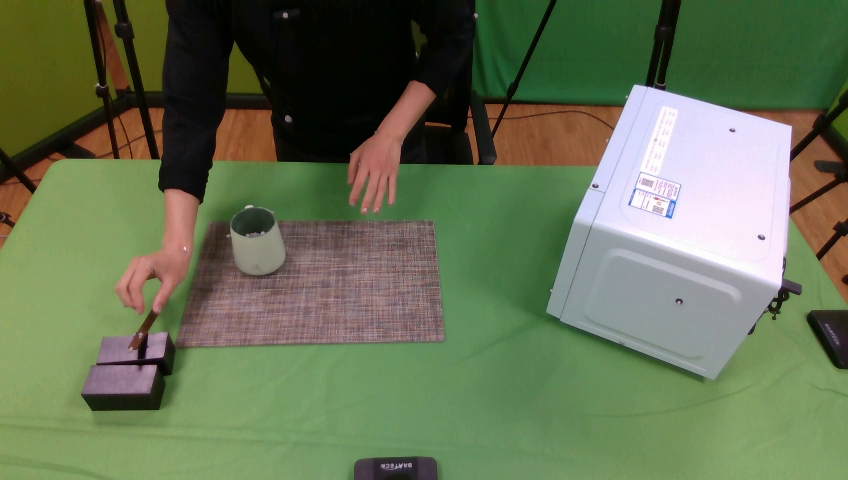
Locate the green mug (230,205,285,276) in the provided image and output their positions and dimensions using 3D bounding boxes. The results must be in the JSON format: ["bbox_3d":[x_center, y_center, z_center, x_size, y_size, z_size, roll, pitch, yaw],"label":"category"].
[{"bbox_3d":[-0.311,-0.008,1.118,0.092,0.105,0.124,-14,48,-16],"label":"green mug"}]

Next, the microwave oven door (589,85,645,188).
[{"bbox_3d":[0.342,-0.107,1.148,0.039,0.245,0.354,20,48,15],"label":"microwave oven door"}]

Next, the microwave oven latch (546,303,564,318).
[{"bbox_3d":[0.242,0.102,1.081,0.030,0.029,0.079,21,48,17],"label":"microwave oven latch"}]

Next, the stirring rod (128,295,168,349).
[{"bbox_3d":[-0.451,0.131,0.996,0.014,0.006,0.175,9,21,-10],"label":"stirring rod"}]

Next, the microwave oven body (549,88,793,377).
[{"bbox_3d":[0.456,-0.028,1.087,0.325,0.261,0.440,20,47,16],"label":"microwave oven body"}]
